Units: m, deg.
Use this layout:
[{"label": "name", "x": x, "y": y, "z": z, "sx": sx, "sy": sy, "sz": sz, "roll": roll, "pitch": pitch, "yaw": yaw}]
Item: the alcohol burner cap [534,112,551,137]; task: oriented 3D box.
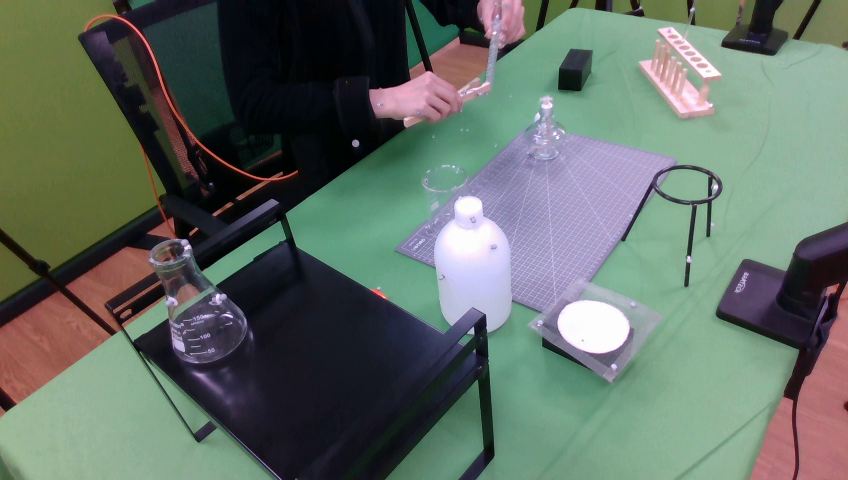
[{"label": "alcohol burner cap", "x": 0.235, "y": -0.231, "z": 1.197, "sx": 0.034, "sy": 0.048, "sz": 0.033, "roll": -5, "pitch": 38, "yaw": 5}]

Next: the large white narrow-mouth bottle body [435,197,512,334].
[{"label": "large white narrow-mouth bottle body", "x": 0.066, "y": 0.028, "z": 0.805, "sx": 0.102, "sy": 0.195, "sz": 0.101, "roll": -4, "pitch": 40, "yaw": 4}]

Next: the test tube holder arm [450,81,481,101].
[{"label": "test tube holder arm", "x": 0.070, "y": -0.245, "z": 1.015, "sx": 0.010, "sy": 0.015, "sz": 0.088, "roll": 16, "pitch": 42, "yaw": 31}]

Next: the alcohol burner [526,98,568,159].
[{"label": "alcohol burner", "x": 0.228, "y": -0.210, "z": 1.118, "sx": 0.078, "sy": 0.119, "sz": 0.077, "roll": -5, "pitch": 43, "yaw": 5}]

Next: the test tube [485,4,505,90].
[{"label": "test tube", "x": 0.116, "y": -0.316, "z": 1.005, "sx": 0.017, "sy": 0.150, "sz": 0.017, "roll": 2, "pitch": 43, "yaw": -2}]

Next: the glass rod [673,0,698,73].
[{"label": "glass rod", "x": 0.537, "y": -0.425, "z": 1.244, "sx": 0.008, "sy": 0.200, "sz": 0.008, "roll": 0, "pitch": 47, "yaw": 0}]

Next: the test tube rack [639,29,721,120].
[{"label": "test tube rack", "x": 0.527, "y": -0.351, "z": 1.262, "sx": 0.067, "sy": 0.085, "sz": 0.241, "roll": -8, "pitch": 40, "yaw": 1}]

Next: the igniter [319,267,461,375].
[{"label": "igniter", "x": -0.060, "y": 0.108, "z": 0.862, "sx": 0.274, "sy": 0.025, "sz": 0.057, "roll": 28, "pitch": 62, "yaw": 35}]

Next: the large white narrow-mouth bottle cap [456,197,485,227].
[{"label": "large white narrow-mouth bottle cap", "x": 0.058, "y": -0.035, "z": 0.750, "sx": 0.038, "sy": 0.024, "sz": 0.037, "roll": -4, "pitch": 40, "yaw": 4}]

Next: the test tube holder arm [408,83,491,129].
[{"label": "test tube holder arm", "x": 0.044, "y": -0.221, "z": 0.987, "sx": 0.179, "sy": 0.015, "sz": 0.013, "roll": -32, "pitch": 40, "yaw": -30}]

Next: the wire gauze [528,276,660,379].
[{"label": "wire gauze", "x": 0.214, "y": 0.103, "z": 0.763, "sx": 0.124, "sy": 0.011, "sz": 0.122, "roll": 30, "pitch": 52, "yaw": 35}]

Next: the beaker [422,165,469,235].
[{"label": "beaker", "x": 0.041, "y": -0.063, "z": 0.986, "sx": 0.073, "sy": 0.101, "sz": 0.084, "roll": 20, "pitch": 47, "yaw": 29}]

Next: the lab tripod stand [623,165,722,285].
[{"label": "lab tripod stand", "x": 0.365, "y": -0.030, "z": 0.874, "sx": 0.148, "sy": 0.132, "sz": 0.147, "roll": -6, "pitch": 41, "yaw": 6}]

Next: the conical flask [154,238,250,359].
[{"label": "conical flask", "x": -0.225, "y": 0.055, "z": 0.597, "sx": 0.075, "sy": 0.122, "sz": 0.075, "roll": -5, "pitch": 41, "yaw": 4}]
